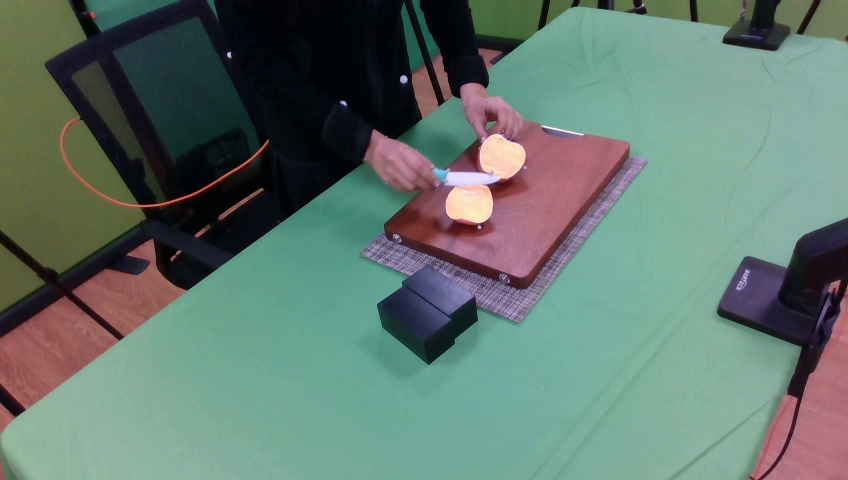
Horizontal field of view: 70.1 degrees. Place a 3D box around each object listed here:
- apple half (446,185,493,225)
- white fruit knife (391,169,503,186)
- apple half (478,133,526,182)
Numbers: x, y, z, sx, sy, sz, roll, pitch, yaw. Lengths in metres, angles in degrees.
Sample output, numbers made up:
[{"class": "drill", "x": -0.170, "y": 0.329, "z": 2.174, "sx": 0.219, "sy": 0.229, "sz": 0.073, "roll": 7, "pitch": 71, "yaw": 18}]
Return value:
[{"class": "apple half", "x": 0.076, "y": -0.056, "z": 0.976, "sx": 0.081, "sy": 0.033, "sz": 0.081, "roll": -3, "pitch": 65, "yaw": 6}, {"class": "white fruit knife", "x": 0.032, "y": -0.100, "z": 0.966, "sx": 0.206, "sy": 0.027, "sz": 0.016, "roll": 5, "pitch": 26, "yaw": 31}, {"class": "apple half", "x": 0.131, "y": -0.138, "z": 1.046, "sx": 0.081, "sy": 0.053, "sz": 0.074, "roll": 22, "pitch": 76, "yaw": 1}]
